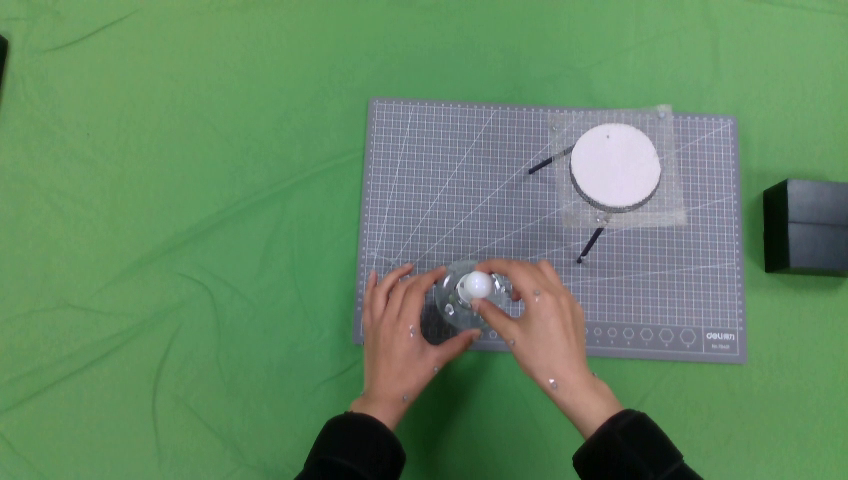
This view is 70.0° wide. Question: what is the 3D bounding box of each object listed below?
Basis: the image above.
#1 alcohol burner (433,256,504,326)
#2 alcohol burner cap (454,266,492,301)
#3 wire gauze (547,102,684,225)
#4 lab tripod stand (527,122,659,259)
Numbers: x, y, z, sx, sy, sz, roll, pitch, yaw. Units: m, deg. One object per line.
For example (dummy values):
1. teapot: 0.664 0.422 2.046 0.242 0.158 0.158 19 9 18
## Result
1. alcohol burner: 0.049 0.052 0.641 0.078 0.119 0.077 1 78 -3
2. alcohol burner cap: 0.050 0.041 0.596 0.034 0.048 0.033 2 77 -10
3. wire gauze: 0.186 -0.074 0.588 0.125 0.011 0.121 -3 80 -3
4. lab tripod stand: 0.187 -0.064 0.654 0.148 0.132 0.147 0 78 -1
